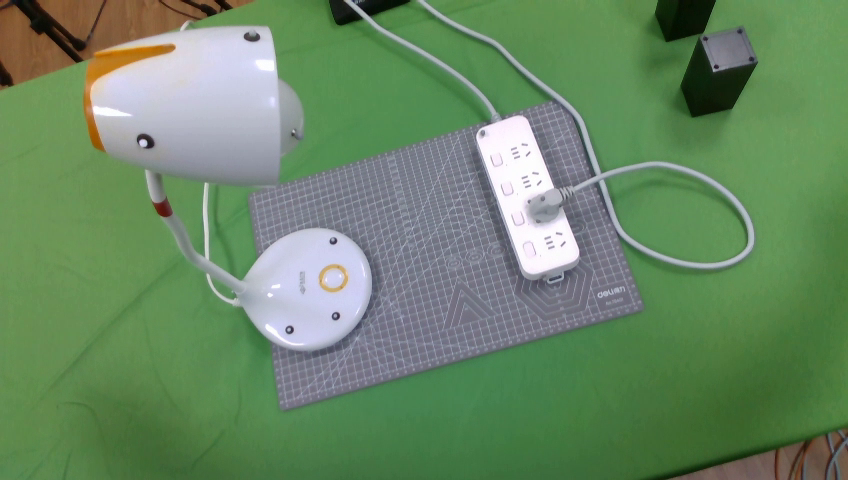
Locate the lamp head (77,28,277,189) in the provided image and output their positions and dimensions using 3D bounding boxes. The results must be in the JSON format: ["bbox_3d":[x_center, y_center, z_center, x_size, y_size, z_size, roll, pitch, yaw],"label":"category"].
[{"bbox_3d":[-0.166,-0.086,0.416,0.123,0.113,0.111,-7,69,-16],"label":"lamp head"}]

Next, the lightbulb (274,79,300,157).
[{"bbox_3d":[-0.140,-0.087,0.417,0.108,0.059,0.059,3,70,-19],"label":"lightbulb"}]

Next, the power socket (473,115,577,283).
[{"bbox_3d":[0.122,-0.056,0.752,0.072,0.033,0.225,-18,69,2],"label":"power socket"}]

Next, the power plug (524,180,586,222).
[{"bbox_3d":[0.156,-0.042,0.722,0.072,0.053,0.035,-7,72,5],"label":"power plug"}]

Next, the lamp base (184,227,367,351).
[{"bbox_3d":[-0.174,0.040,0.693,0.179,0.181,0.159,-21,69,5],"label":"lamp base"}]
